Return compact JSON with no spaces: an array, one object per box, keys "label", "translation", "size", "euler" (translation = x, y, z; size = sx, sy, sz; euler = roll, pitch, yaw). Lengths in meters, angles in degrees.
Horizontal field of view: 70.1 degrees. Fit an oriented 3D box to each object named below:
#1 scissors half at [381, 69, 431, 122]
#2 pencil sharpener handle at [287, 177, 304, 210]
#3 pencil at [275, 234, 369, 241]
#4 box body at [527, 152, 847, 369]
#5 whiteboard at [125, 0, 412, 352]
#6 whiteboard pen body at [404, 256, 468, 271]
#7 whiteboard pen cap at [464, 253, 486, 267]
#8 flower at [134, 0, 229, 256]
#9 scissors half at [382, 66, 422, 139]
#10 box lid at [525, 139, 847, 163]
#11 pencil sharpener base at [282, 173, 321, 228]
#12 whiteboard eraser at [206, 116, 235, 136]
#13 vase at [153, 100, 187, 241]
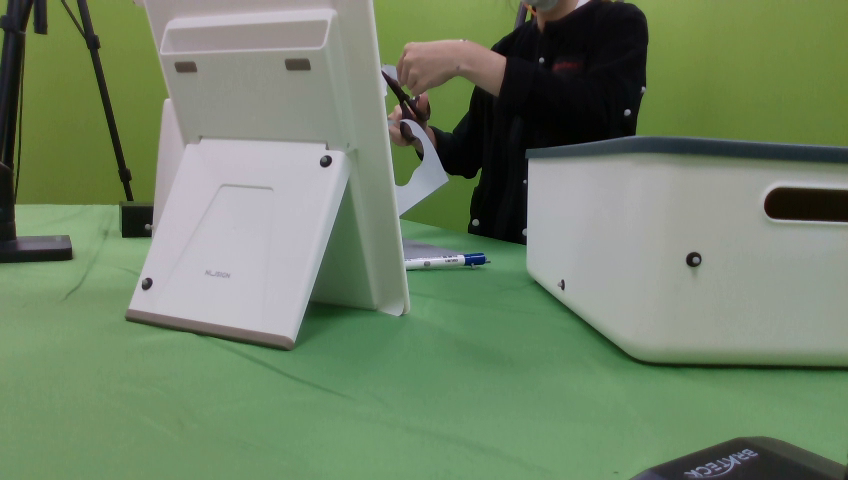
[{"label":"scissors half","translation":[-0.031,-0.256,1.062],"size":[0.013,0.040,0.176],"euler":[19,-3,31]},{"label":"pencil sharpener handle","translation":[-0.269,-0.096,1.257],"size":[0.036,0.067,0.030],"euler":[-8,8,-27]},{"label":"pencil","translation":[-0.169,-0.006,1.037],"size":[0.012,0.012,0.195],"euler":[10,8,44]},{"label":"box body","translation":[0.257,-0.005,0.591],"size":[0.254,0.160,0.363],"euler":[2,7,-4]},{"label":"whiteboard","translation":[-0.151,-0.049,0.472],"size":[0.216,0.305,0.144],"euler":[6,27,24]},{"label":"whiteboard pen body","translation":[0.013,0.030,0.792],"size":[0.141,0.017,0.017],"euler":[-3,9,-24]},{"label":"whiteboard pen cap","translation":[0.066,0.027,0.818],"size":[0.033,0.018,0.018],"euler":[-5,10,-24]},{"label":"flower","translation":[-0.282,-0.146,0.713],"size":[0.038,0.362,0.044],"euler":[-23,24,-31]},{"label":"scissors half","translation":[-0.041,-0.238,1.058],"size":[0.012,0.040,0.176],"euler":[24,-22,32]},{"label":"box lid","translation":[0.261,-0.078,0.580],"size":[0.264,0.015,0.371],"euler":[2,7,-4]},{"label":"pencil sharpener base","translation":[-0.247,-0.080,1.212],"size":[0.061,0.107,0.076],"euler":[-2,5,-28]},{"label":"whiteboard eraser","translation":[-0.450,-0.252,1.335],"size":[0.056,0.042,0.112],"euler":[1,7,-22]},{"label":"vase","translation":[-0.278,-0.066,0.736],"size":[0.098,0.200,0.098],"euler":[2,9,0]}]
